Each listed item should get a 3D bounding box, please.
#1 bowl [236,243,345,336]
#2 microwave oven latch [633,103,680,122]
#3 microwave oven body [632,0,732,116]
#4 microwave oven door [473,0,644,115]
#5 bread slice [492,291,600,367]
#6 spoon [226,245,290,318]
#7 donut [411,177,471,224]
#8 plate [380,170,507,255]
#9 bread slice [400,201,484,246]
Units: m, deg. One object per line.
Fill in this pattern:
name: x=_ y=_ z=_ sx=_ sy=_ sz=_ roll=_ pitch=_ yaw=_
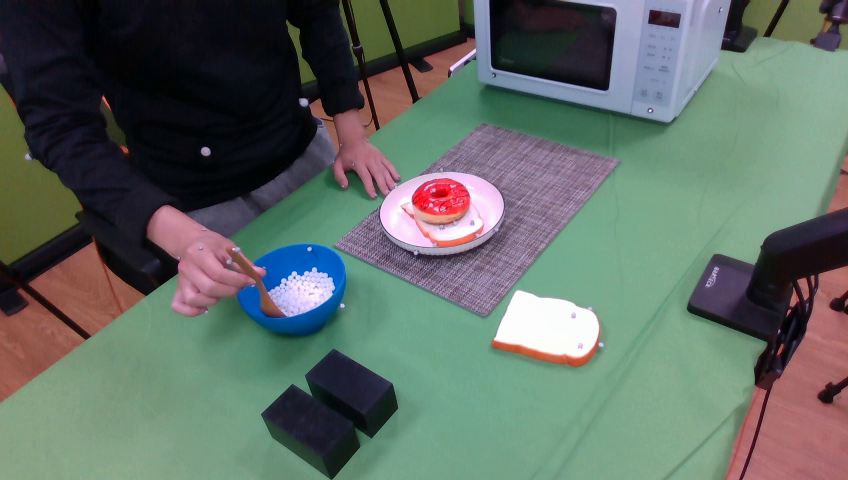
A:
bowl: x=-0.180 y=0.082 z=0.855 sx=0.151 sy=0.077 sz=0.150 roll=-4 pitch=41 yaw=4
microwave oven latch: x=0.444 y=-0.249 z=1.157 sx=0.078 sy=0.029 sz=0.030 roll=21 pitch=49 yaw=30
microwave oven body: x=0.377 y=-0.462 z=1.267 sx=0.438 sy=0.261 sz=0.327 roll=21 pitch=48 yaw=30
microwave oven door: x=0.257 y=-0.396 z=1.199 sx=0.353 sy=0.245 sz=0.039 roll=21 pitch=48 yaw=29
bread slice: x=0.169 y=0.118 z=0.811 sx=0.131 sy=0.019 sz=0.105 roll=11 pitch=45 yaw=22
spoon: x=-0.206 y=0.056 z=0.748 sx=0.041 sy=0.194 sz=0.021 roll=17 pitch=59 yaw=17
donut: x=0.028 y=-0.064 z=0.978 sx=0.099 sy=0.048 sz=0.098 roll=-4 pitch=40 yaw=4
plate: x=0.033 y=-0.042 z=0.995 sx=0.207 sy=0.039 sz=0.206 roll=-4 pitch=40 yaw=4
bread slice: x=0.037 y=-0.038 z=0.990 sx=0.107 sy=0.018 sz=0.133 roll=-23 pitch=42 yaw=-17
